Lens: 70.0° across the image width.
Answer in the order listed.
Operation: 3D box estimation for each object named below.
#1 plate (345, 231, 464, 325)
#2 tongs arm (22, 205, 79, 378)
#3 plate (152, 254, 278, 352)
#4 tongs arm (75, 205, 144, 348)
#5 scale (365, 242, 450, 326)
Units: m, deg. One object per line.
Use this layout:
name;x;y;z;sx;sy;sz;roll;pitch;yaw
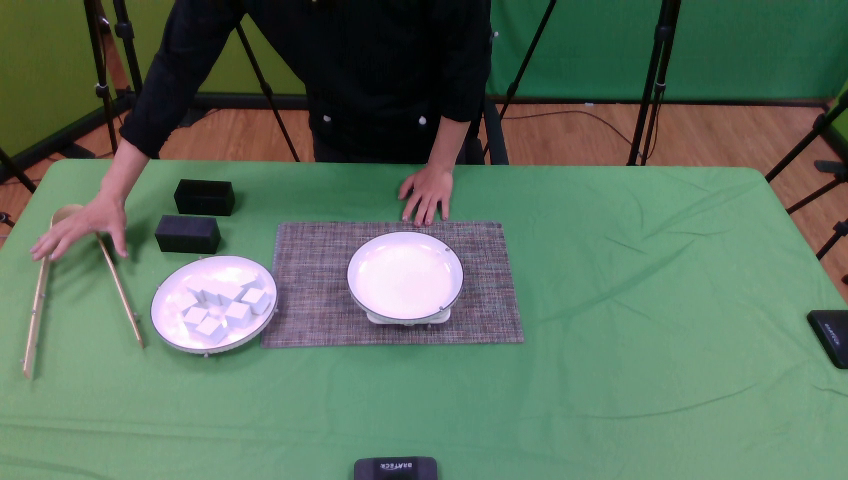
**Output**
plate;-0.034;0.069;1.069;0.209;0.038;0.208;2;46;-2
tongs arm;-0.652;0.074;1.067;0.051;0.026;0.382;-11;46;-15
plate;-0.357;0.111;1.052;0.208;0.039;0.206;2;46;-2
tongs arm;-0.570;0.054;1.098;0.028;0.028;0.385;-26;52;-23
scale;-0.032;0.071;1.113;0.149;0.032;0.199;0;46;-4
